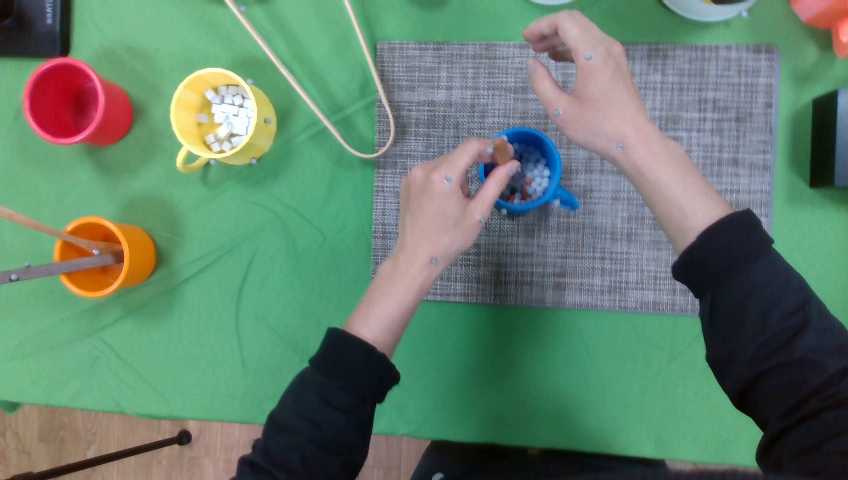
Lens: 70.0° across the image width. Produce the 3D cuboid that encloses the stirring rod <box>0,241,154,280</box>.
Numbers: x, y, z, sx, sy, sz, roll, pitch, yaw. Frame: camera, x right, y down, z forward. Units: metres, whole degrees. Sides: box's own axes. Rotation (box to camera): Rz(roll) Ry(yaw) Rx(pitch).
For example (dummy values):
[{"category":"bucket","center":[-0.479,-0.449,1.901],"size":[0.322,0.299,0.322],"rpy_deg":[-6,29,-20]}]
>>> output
[{"category":"stirring rod","center":[-0.399,0.023,0.686],"size":[0.177,0.006,0.014],"rpy_deg":[-13,86,-36]}]

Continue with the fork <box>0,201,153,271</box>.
[{"category":"fork","center":[-0.408,-0.012,0.679],"size":[0.209,0.018,0.028],"rpy_deg":[30,90,-40]}]

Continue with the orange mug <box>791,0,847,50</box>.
[{"category":"orange mug","center":[0.445,-0.266,0.622],"size":[0.083,0.101,0.126],"rpy_deg":[-7,87,6]}]

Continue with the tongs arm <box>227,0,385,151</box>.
[{"category":"tongs arm","center":[-0.179,-0.252,0.687],"size":[0.051,0.026,0.385],"rpy_deg":[-36,96,2]}]

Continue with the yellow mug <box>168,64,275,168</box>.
[{"category":"yellow mug","center":[-0.242,-0.135,0.702],"size":[0.100,0.064,0.131],"rpy_deg":[41,96,2]}]

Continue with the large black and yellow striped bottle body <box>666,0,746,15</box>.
[{"category":"large black and yellow striped bottle body","center":[0.306,-0.313,0.589],"size":[0.130,0.184,0.130],"rpy_deg":[0,91,6]}]

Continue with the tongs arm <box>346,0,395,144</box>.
[{"category":"tongs arm","center":[-0.107,-0.295,0.682],"size":[0.028,0.027,0.388],"rpy_deg":[-23,97,-3]}]

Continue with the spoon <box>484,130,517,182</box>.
[{"category":"spoon","center":[0.074,-0.079,0.581],"size":[0.041,0.194,0.021],"rpy_deg":[-30,86,6]}]

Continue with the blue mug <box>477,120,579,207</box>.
[{"category":"blue mug","center":[0.114,-0.071,0.650],"size":[0.116,0.106,0.082],"rpy_deg":[30,94,4]}]
